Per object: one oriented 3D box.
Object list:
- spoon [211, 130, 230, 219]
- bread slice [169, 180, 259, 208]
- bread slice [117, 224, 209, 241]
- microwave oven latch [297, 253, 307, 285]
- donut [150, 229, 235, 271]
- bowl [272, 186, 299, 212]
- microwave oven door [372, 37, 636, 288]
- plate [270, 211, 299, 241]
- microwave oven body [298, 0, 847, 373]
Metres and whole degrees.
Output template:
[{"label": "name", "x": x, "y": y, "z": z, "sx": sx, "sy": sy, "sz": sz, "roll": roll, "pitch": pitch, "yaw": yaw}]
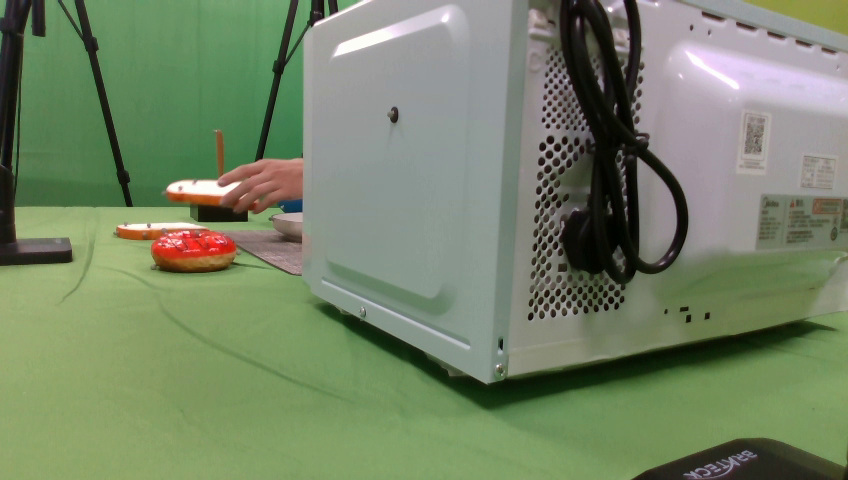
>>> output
[{"label": "spoon", "x": -0.436, "y": -0.138, "z": 1.296, "sx": 0.042, "sy": 0.193, "sz": 0.021, "roll": -3, "pitch": 23, "yaw": -27}, {"label": "bread slice", "x": -0.325, "y": -0.073, "z": 0.945, "sx": 0.135, "sy": 0.018, "sz": 0.106, "roll": 2, "pitch": 16, "yaw": -18}, {"label": "bread slice", "x": -0.443, "y": -0.014, "z": 1.023, "sx": 0.132, "sy": 0.019, "sz": 0.104, "roll": -3, "pitch": 8, "yaw": -45}, {"label": "microwave oven latch", "x": -0.082, "y": 0.027, "z": 0.582, "sx": 0.079, "sy": 0.029, "sz": 0.030, "roll": -1, "pitch": 7, "yaw": -32}, {"label": "donut", "x": -0.285, "y": 0.013, "z": 0.747, "sx": 0.099, "sy": 0.048, "sz": 0.099, "roll": 3, "pitch": 10, "yaw": 0}, {"label": "bowl", "x": -0.254, "y": -0.075, "z": 1.318, "sx": 0.151, "sy": 0.077, "sz": 0.151, "roll": 2, "pitch": 7, "yaw": 0}, {"label": "microwave oven door", "x": 0.110, "y": -0.080, "z": 0.686, "sx": 0.358, "sy": 0.243, "sz": 0.039, "roll": -2, "pitch": 9, "yaw": -33}, {"label": "plate", "x": -0.163, "y": -0.022, "z": 1.058, "sx": 0.208, "sy": 0.039, "sz": 0.207, "roll": 2, "pitch": 7, "yaw": 0}, {"label": "microwave oven body", "x": 0.151, "y": -0.055, "z": 0.542, "sx": 0.444, "sy": 0.260, "sz": 0.324, "roll": -2, "pitch": 7, "yaw": -33}]
